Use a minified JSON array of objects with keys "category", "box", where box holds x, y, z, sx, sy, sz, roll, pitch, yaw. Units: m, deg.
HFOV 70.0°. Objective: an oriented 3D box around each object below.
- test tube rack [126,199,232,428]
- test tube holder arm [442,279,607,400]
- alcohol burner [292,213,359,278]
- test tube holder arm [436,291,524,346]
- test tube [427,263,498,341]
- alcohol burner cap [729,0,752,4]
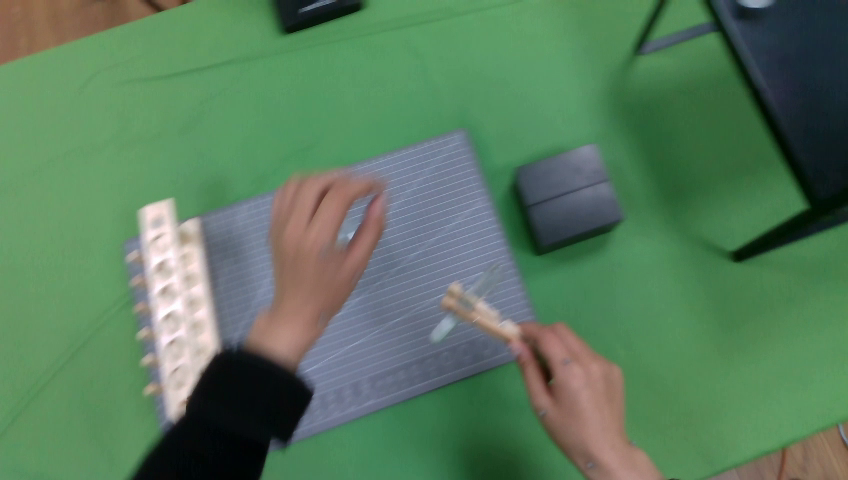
[{"category":"test tube rack","box":[-0.287,0.085,0.686,0.067,0.085,0.241,-16,76,-2]},{"category":"test tube holder arm","box":[0.092,0.092,0.555,0.178,0.015,0.013,34,59,-1]},{"category":"alcohol burner","box":[-0.115,0.002,0.687,0.078,0.119,0.077,0,77,2]},{"category":"test tube holder arm","box":[0.052,0.072,0.550,0.088,0.015,0.010,28,59,-5]},{"category":"test tube","box":[0.031,0.061,0.557,0.017,0.151,0.017,10,58,-15]},{"category":"alcohol burner cap","box":[0.319,-0.258,0.591,0.034,0.048,0.033,0,74,2]}]
